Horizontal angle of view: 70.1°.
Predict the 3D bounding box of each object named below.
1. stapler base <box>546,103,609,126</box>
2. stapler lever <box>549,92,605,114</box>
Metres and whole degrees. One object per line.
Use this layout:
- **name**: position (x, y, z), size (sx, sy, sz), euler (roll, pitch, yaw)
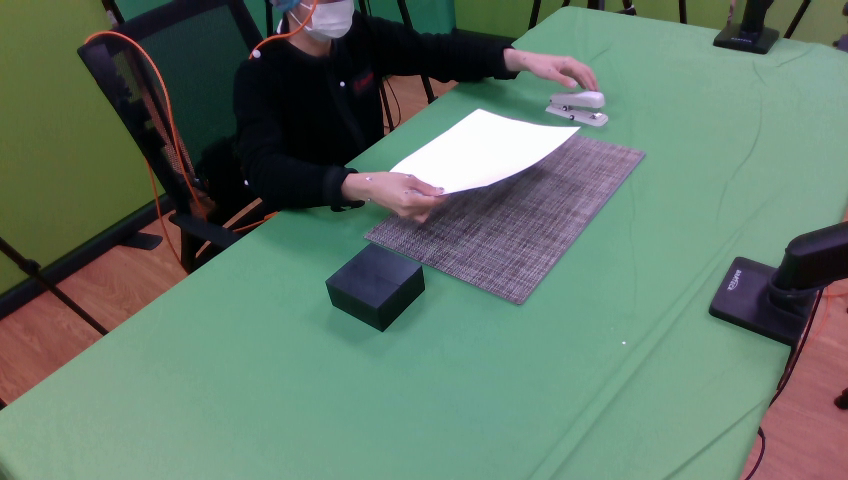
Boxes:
- **stapler base**: position (0.313, -0.266, 1.235), size (0.129, 0.024, 0.041), euler (26, 48, 36)
- **stapler lever**: position (0.309, -0.285, 1.220), size (0.117, 0.040, 0.027), euler (26, 48, 35)
